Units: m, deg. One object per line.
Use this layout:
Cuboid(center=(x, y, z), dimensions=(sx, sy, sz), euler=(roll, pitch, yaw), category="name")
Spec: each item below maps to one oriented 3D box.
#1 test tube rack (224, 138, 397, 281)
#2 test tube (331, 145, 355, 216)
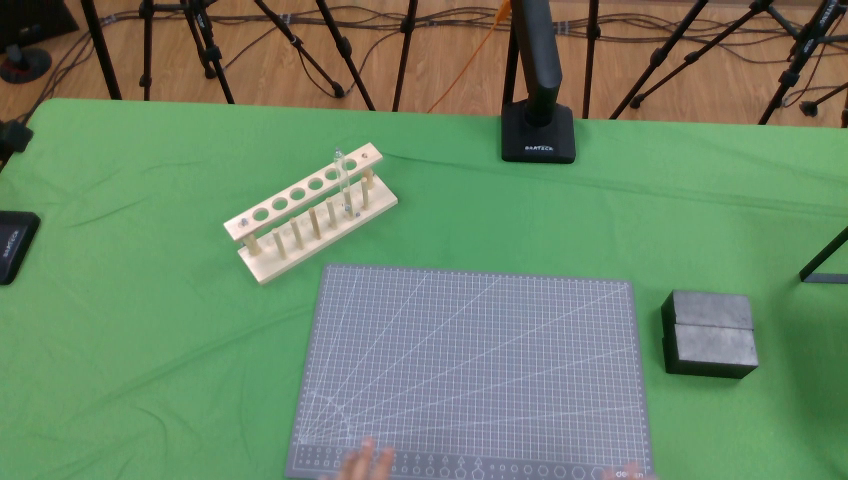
Cuboid(center=(-0.159, -0.047, 0.889), dimensions=(0.242, 0.086, 0.066), euler=(-33, 64, -18), category="test tube rack")
Cuboid(center=(-0.114, -0.081, 0.857), dimensions=(0.017, 0.151, 0.017), euler=(0, 58, 1), category="test tube")
